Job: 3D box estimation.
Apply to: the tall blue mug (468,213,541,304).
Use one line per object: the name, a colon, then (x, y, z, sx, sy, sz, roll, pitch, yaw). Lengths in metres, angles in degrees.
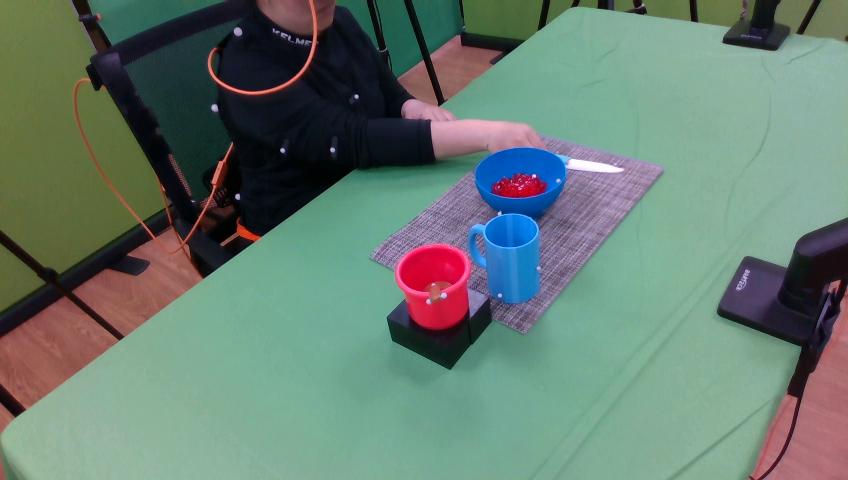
tall blue mug: (0.111, 0.026, 0.856, 0.107, 0.108, 0.077, 2, 42, 13)

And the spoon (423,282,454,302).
spoon: (0.015, 0.062, 0.733, 0.041, 0.194, 0.021, -6, 86, 3)

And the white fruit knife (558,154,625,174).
white fruit knife: (0.259, -0.142, 1.101, 0.206, 0.016, 0.027, 13, 67, 19)

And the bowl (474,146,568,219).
bowl: (0.161, -0.083, 1.001, 0.151, 0.077, 0.150, -5, 40, 5)
